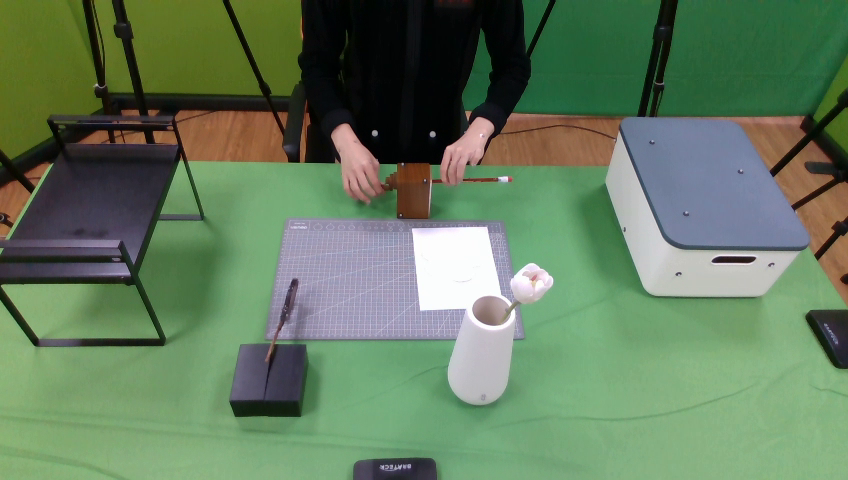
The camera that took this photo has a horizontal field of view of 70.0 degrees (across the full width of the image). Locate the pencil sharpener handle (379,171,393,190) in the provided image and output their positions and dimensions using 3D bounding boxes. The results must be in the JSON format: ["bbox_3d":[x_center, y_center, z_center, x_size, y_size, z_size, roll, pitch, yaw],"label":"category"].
[{"bbox_3d":[-0.077,-0.116,1.225,0.031,0.068,0.036,1,74,-3],"label":"pencil sharpener handle"}]

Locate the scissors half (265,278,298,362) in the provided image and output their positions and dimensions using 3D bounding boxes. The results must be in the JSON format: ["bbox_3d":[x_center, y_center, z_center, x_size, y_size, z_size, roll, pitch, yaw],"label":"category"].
[{"bbox_3d":[-0.234,0.127,0.993,0.013,0.040,0.174,12,46,-3],"label":"scissors half"}]

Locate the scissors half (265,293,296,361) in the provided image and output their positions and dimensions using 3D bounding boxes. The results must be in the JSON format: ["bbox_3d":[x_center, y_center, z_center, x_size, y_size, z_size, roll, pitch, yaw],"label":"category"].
[{"bbox_3d":[-0.239,0.143,1.005,0.013,0.040,0.174,17,28,-6],"label":"scissors half"}]

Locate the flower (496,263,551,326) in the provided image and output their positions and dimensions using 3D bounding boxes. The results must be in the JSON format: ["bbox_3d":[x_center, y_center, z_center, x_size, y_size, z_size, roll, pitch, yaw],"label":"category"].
[{"bbox_3d":[0.102,0.120,0.853,0.044,0.363,0.038,-1,64,-10],"label":"flower"}]

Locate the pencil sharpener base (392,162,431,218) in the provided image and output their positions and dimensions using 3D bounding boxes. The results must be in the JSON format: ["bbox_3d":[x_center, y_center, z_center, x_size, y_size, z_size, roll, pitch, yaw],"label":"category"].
[{"bbox_3d":[-0.026,-0.101,1.234,0.077,0.107,0.061,1,47,-3],"label":"pencil sharpener base"}]

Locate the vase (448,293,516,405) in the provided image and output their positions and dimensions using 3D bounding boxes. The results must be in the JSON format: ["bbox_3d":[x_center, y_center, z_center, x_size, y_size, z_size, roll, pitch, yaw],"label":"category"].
[{"bbox_3d":[0.091,0.169,0.921,0.098,0.201,0.097,3,47,-3],"label":"vase"}]

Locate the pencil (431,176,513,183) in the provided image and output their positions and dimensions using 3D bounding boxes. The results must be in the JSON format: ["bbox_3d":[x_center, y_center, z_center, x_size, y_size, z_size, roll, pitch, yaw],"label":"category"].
[{"bbox_3d":[0.082,-0.121,1.221,0.194,0.012,0.012,-2,47,-1],"label":"pencil"}]

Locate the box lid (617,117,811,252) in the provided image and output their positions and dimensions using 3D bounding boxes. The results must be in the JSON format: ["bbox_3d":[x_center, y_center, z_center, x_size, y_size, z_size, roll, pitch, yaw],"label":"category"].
[{"bbox_3d":[0.534,-0.117,1.148,0.263,0.015,0.369,0,47,-3],"label":"box lid"}]

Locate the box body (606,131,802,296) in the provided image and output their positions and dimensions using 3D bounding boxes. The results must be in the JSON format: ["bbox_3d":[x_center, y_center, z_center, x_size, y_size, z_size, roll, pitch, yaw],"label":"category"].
[{"bbox_3d":[0.530,-0.067,1.204,0.254,0.161,0.361,0,46,-4],"label":"box body"}]
